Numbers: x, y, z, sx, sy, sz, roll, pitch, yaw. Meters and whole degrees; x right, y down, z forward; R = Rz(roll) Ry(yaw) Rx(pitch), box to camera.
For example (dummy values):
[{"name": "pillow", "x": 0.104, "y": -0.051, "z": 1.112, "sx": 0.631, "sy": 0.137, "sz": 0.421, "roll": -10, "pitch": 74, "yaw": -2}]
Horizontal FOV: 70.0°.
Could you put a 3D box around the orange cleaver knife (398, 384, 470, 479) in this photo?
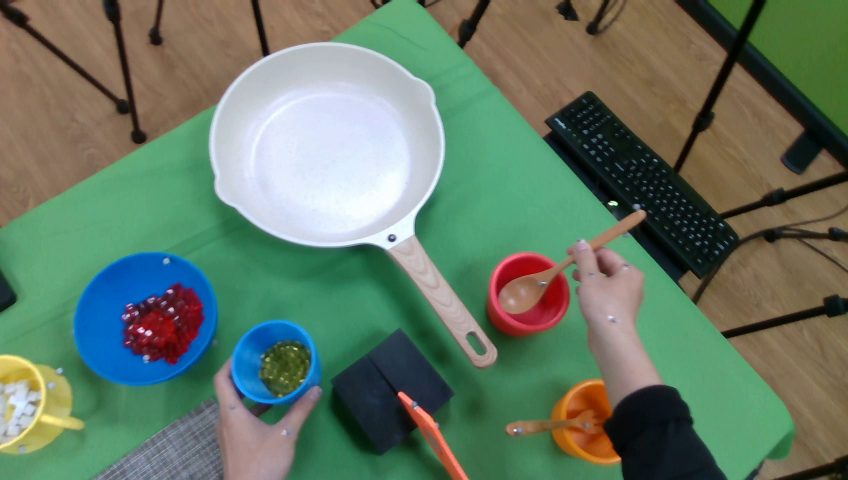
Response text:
[{"name": "orange cleaver knife", "x": 0.032, "y": 0.248, "z": 0.673, "sx": 0.012, "sy": 0.077, "sz": 0.212, "roll": -35, "pitch": 106, "yaw": -16}]

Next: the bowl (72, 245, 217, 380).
[{"name": "bowl", "x": -0.308, "y": 0.089, "z": 0.697, "sx": 0.151, "sy": 0.077, "sz": 0.150, "roll": 2, "pitch": 71, "yaw": -5}]

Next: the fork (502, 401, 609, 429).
[{"name": "fork", "x": 0.150, "y": 0.194, "z": 0.668, "sx": 0.209, "sy": 0.018, "sz": 0.028, "roll": 14, "pitch": 64, "yaw": -48}]

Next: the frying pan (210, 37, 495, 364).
[{"name": "frying pan", "x": -0.066, "y": -0.047, "z": 0.755, "sx": 0.307, "sy": 0.103, "sz": 0.484, "roll": -30, "pitch": 68, "yaw": -14}]

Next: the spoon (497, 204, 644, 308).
[{"name": "spoon", "x": 0.163, "y": 0.019, "z": 0.685, "sx": 0.194, "sy": 0.022, "sz": 0.041, "roll": -38, "pitch": 60, "yaw": 24}]

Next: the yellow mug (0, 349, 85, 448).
[{"name": "yellow mug", "x": -0.435, "y": 0.178, "z": 0.659, "sx": 0.131, "sy": 0.064, "sz": 0.099, "roll": 16, "pitch": 70, "yaw": -1}]

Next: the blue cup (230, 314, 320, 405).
[{"name": "blue cup", "x": -0.154, "y": 0.133, "z": 0.663, "sx": 0.092, "sy": 0.101, "sz": 0.092, "roll": 0, "pitch": 71, "yaw": 1}]
